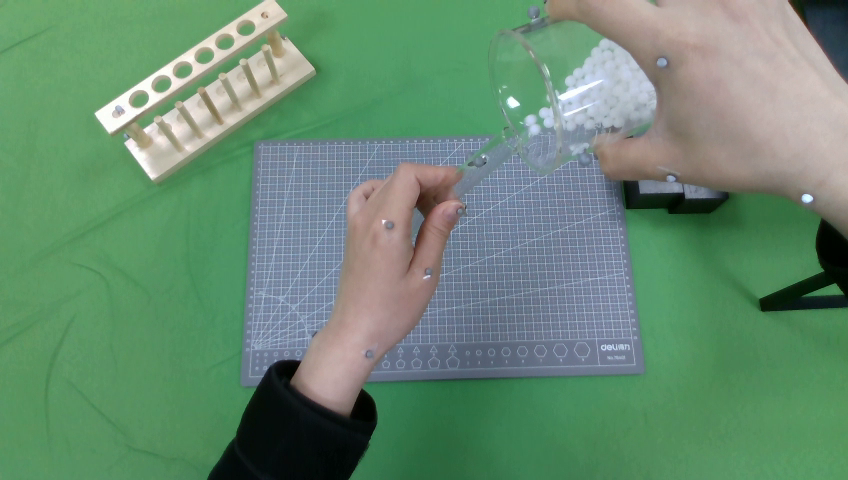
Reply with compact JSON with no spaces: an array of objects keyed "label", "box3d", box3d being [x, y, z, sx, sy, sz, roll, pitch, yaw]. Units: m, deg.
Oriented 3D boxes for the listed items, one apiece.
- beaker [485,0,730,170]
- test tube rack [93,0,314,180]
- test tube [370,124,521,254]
[{"label":"beaker","box3d":[0.092,-0.086,0.309,0.100,0.084,0.073,-22,77,-8]},{"label":"test tube rack","box3d":[-0.255,-0.182,0.729,0.242,0.085,0.066,-38,77,-11]},{"label":"test tube","box3d":[0.007,-0.027,0.391,0.017,0.150,0.017,21,52,-29]}]
